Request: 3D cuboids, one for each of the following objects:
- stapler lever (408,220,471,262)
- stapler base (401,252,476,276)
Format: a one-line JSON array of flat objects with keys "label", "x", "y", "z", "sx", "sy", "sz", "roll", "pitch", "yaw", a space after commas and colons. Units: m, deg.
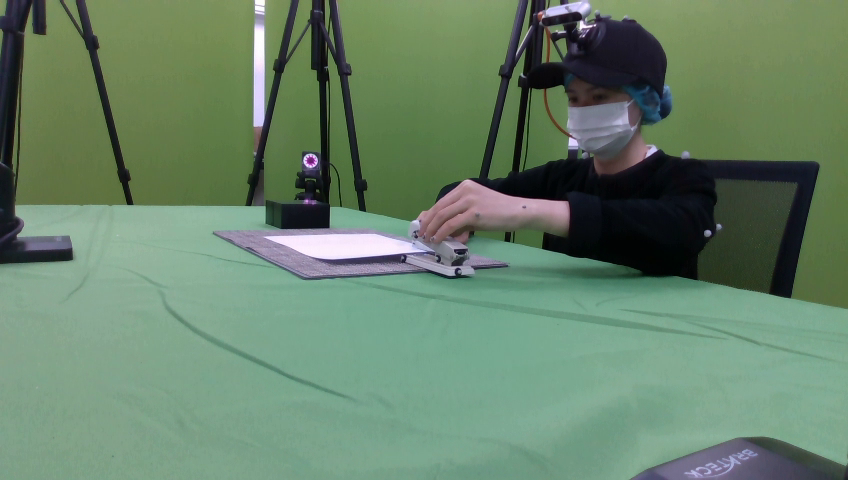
[{"label": "stapler lever", "x": 0.018, "y": 0.000, "z": 0.784, "sx": 0.027, "sy": 0.040, "sz": 0.117, "roll": -5, "pitch": 11, "yaw": -32}, {"label": "stapler base", "x": 0.015, "y": 0.024, "z": 0.788, "sx": 0.041, "sy": 0.024, "sz": 0.130, "roll": -5, "pitch": 11, "yaw": -32}]
